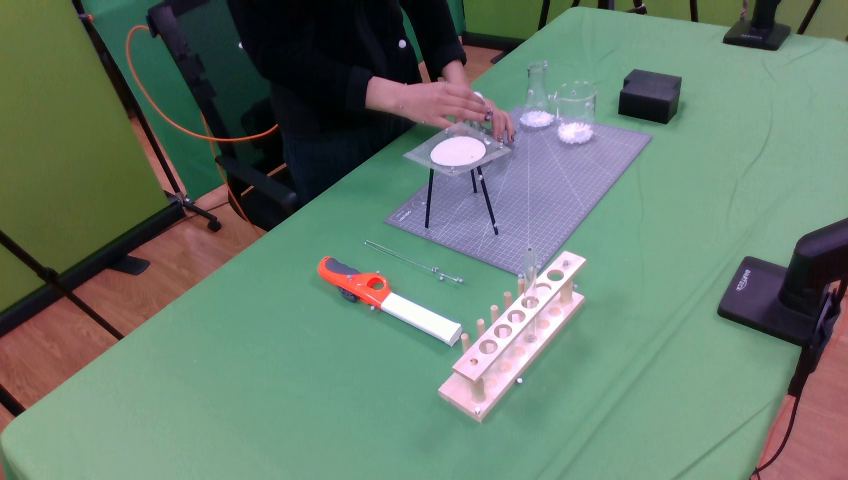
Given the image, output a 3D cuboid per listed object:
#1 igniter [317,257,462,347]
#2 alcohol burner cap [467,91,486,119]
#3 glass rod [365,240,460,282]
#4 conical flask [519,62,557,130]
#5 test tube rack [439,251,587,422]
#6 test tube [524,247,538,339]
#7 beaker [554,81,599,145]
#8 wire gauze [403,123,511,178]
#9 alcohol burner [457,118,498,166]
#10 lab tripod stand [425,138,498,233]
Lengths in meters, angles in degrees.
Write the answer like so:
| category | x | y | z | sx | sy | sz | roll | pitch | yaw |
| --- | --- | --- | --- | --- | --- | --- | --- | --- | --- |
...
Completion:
| category | x | y | z | sx | sy | sz | roll | pitch | yaw |
| --- | --- | --- | --- | --- | --- | --- | --- | --- | --- |
| igniter | -0.061 | 0.086 | 0.891 | 0.274 | 0.025 | 0.057 | 23 | 59 | 33 |
| alcohol burner cap | 0.093 | -0.242 | 1.080 | 0.034 | 0.048 | 0.033 | -4 | 48 | 5 |
| glass rod | -0.022 | 0.032 | 0.961 | 0.198 | 0.008 | 0.008 | 21 | 49 | 34 |
| conical flask | 0.225 | -0.287 | 1.198 | 0.075 | 0.122 | 0.075 | -6 | 40 | 5 |
| test tube rack | 0.118 | 0.111 | 0.780 | 0.066 | 0.085 | 0.243 | 26 | 51 | 35 |
| test tube | 0.133 | 0.070 | 0.749 | 0.017 | 0.151 | 0.017 | -5 | 38 | 4 |
| beaker | 0.286 | -0.237 | 1.144 | 0.084 | 0.101 | 0.073 | -17 | 40 | -7 |
| wire gauze | 0.051 | -0.140 | 0.943 | 0.125 | 0.011 | 0.120 | -31 | 43 | -24 |
| alcohol burner | 0.099 | -0.198 | 1.124 | 0.078 | 0.119 | 0.077 | -5 | 38 | 4 |
| lab tripod stand | 0.063 | -0.091 | 0.988 | 0.148 | 0.132 | 0.147 | -6 | 38 | 6 |
